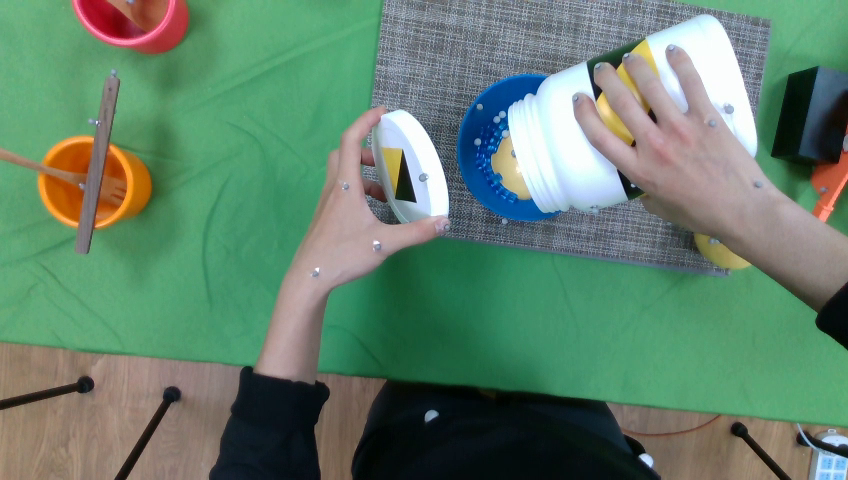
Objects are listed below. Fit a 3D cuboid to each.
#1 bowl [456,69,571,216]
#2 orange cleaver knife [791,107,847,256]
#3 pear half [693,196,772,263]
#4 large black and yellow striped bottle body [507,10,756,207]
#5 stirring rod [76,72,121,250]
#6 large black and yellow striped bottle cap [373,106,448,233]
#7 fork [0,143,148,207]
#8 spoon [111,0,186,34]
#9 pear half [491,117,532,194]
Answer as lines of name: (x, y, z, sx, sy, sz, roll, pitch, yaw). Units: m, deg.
bowl: (0.104, -0.102, 0.657, 0.151, 0.076, 0.151, 0, 95, -5)
orange cleaver knife: (0.469, -0.081, 0.693, 0.012, 0.076, 0.213, 10, 123, 0)
pear half: (0.339, -0.010, 0.671, 0.056, 0.109, 0.076, -12, 92, -3)
large black and yellow striped bottle body: (0.178, -0.106, 0.539, 0.183, 0.131, 0.131, -17, 97, 22)
stirring rod: (-0.316, -0.076, 0.589, 0.014, 0.006, 0.176, 12, 95, -9)
large black and yellow striped bottle cap: (-0.014, -0.062, 0.544, 0.019, 0.114, 0.115, -22, 97, -21)
fork: (-0.369, -0.075, 0.585, 0.209, 0.018, 0.028, 25, 103, -50)
spoon: (-0.324, -0.245, 0.577, 0.195, 0.021, 0.041, 10, 98, -49)
pear half: (0.109, -0.094, 0.652, 0.070, 0.031, 0.088, -20, 93, -6)
